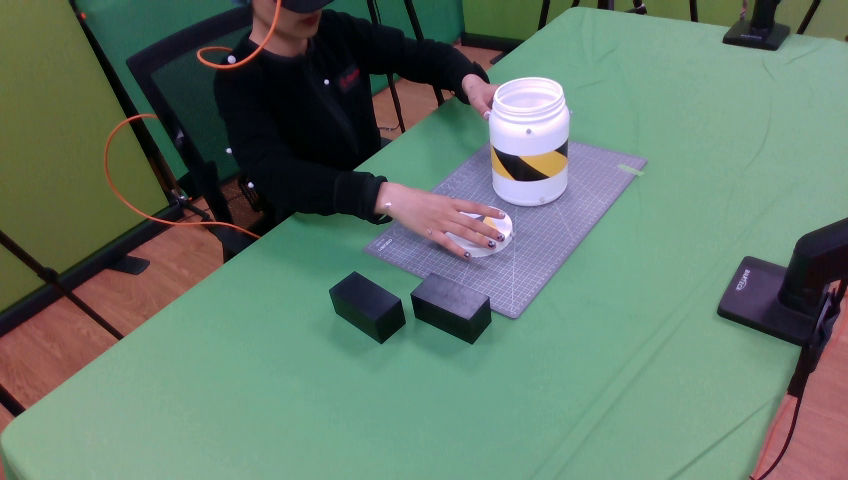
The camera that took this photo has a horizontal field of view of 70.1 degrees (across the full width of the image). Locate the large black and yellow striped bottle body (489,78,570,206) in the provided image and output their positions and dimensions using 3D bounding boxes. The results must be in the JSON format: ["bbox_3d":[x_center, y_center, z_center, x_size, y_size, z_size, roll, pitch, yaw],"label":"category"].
[{"bbox_3d":[0.177,-0.164,1.012,0.131,0.185,0.130,-5,40,5],"label":"large black and yellow striped bottle body"}]

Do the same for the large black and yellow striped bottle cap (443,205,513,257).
[{"bbox_3d":[0.088,-0.016,0.986,0.115,0.019,0.114,-4,41,4],"label":"large black and yellow striped bottle cap"}]
